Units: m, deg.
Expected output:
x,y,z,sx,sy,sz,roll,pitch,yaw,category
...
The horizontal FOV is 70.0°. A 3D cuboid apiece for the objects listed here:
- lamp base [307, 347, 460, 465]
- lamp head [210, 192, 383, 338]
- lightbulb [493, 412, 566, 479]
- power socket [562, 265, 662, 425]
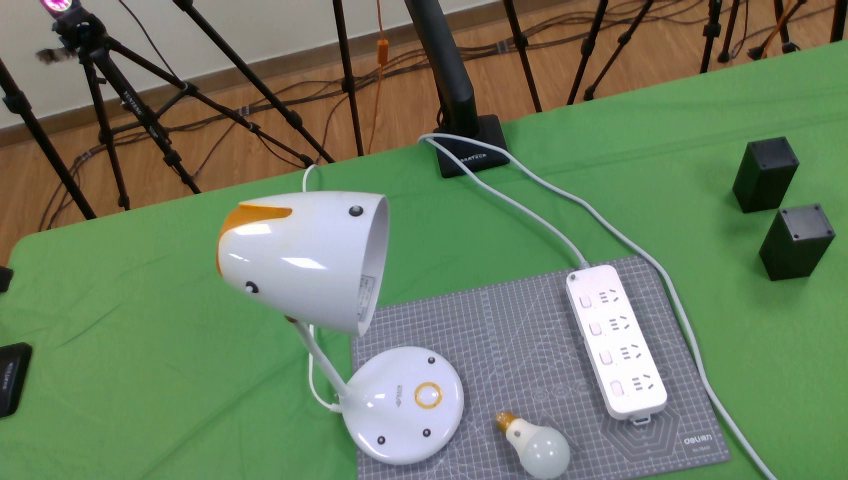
x,y,z,sx,sy,sz,roll,pitch,yaw,category
-0.058,0.177,0.743,0.179,0.182,0.159,-15,54,6,lamp base
-0.097,0.015,0.470,0.123,0.113,0.111,5,57,8,lamp head
0.124,0.245,0.738,0.059,0.060,0.106,-43,42,-17,lightbulb
0.244,0.129,0.800,0.072,0.033,0.224,-13,54,2,power socket
